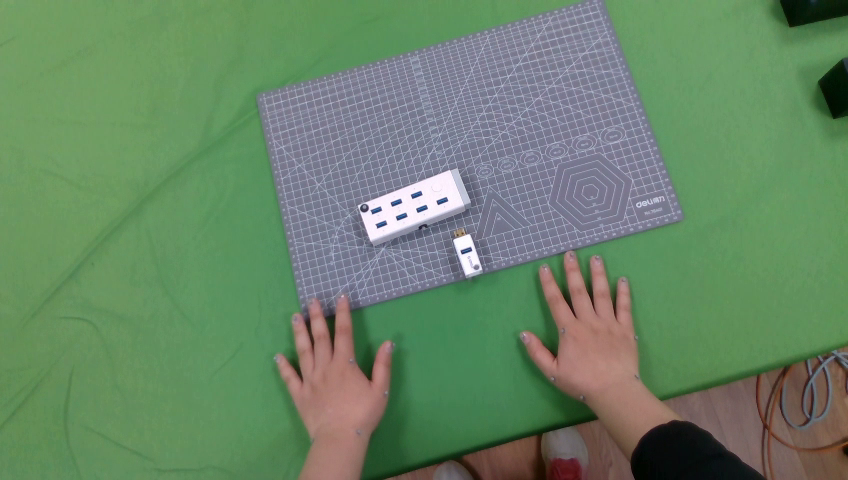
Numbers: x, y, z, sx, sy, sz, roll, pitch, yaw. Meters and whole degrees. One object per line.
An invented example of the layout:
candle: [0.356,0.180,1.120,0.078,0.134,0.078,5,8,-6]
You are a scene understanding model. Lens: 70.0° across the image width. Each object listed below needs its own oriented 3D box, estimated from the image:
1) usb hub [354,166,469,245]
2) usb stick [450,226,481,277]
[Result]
usb hub: [-0.015,-0.041,0.705,0.125,0.025,0.049,-21,76,0]
usb stick: [0.045,0.011,0.687,0.021,0.027,0.059,-20,73,4]
